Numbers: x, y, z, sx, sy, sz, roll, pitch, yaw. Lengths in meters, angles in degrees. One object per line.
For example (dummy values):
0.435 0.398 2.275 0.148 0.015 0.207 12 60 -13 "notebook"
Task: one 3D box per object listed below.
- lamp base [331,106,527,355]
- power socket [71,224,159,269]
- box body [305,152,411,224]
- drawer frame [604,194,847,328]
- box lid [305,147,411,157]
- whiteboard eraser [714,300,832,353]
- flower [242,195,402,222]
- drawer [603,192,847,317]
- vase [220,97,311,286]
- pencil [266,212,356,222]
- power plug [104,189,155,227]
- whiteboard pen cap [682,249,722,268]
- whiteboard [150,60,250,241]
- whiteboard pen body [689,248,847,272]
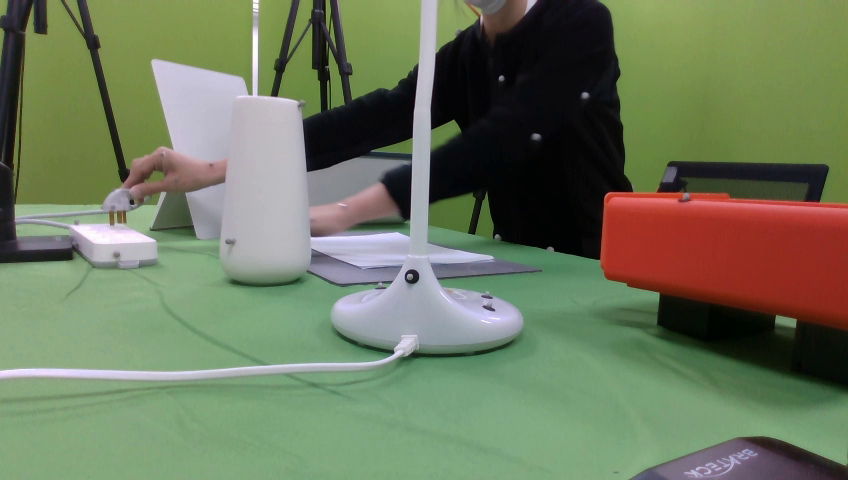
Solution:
0.006 -0.012 0.478 0.161 0.180 0.179 2 10 2 "lamp base"
-0.409 0.004 0.792 0.072 0.032 0.225 -2 8 -37 "power socket"
-0.230 -0.126 1.372 0.366 0.160 0.253 -2 9 -33 "box body"
0.298 0.007 0.497 0.203 0.082 0.212 -1 7 -34 "drawer frame"
-0.229 -0.200 1.361 0.373 0.015 0.262 -2 9 -33 "box lid"
0.256 0.042 0.472 0.112 0.042 0.056 43 20 31 "whiteboard eraser"
-0.231 -0.064 1.372 0.362 0.038 0.044 6 40 -2 "flower"
0.293 0.002 0.500 0.195 0.073 0.210 -1 8 -33 "drawer"
-0.172 -0.052 0.662 0.098 0.200 0.098 3 8 0 "vase"
-0.244 -0.049 1.319 0.195 0.012 0.012 4 7 -12 "pencil"
-0.413 -0.046 0.855 0.073 0.052 0.035 -5 4 -39 "power plug"
0.250 0.017 0.544 0.033 0.018 0.018 2 7 25 "whiteboard pen cap"
-0.408 -0.139 1.093 0.143 0.305 0.218 -15 -1 26 "whiteboard"
0.304 0.017 0.521 0.140 0.017 0.017 2 7 27 "whiteboard pen body"
